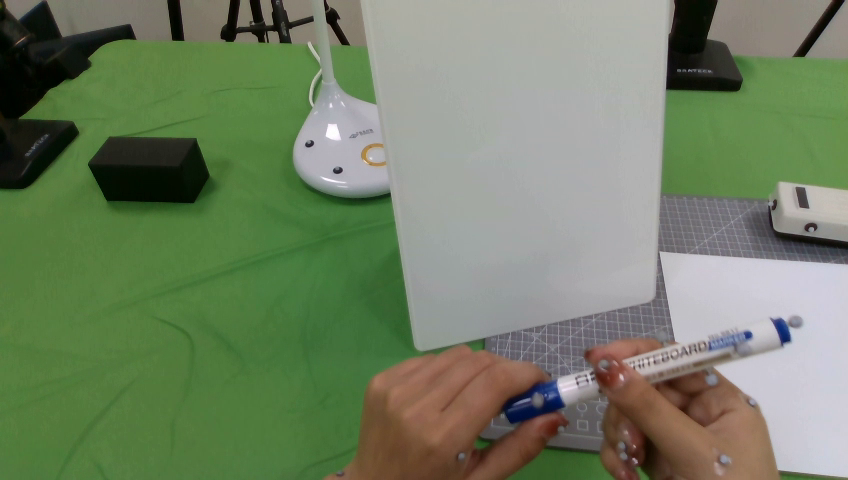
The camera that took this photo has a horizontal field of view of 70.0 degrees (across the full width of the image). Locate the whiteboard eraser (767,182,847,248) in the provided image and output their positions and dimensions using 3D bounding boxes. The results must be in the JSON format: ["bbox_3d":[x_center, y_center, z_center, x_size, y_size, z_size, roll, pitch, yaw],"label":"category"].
[{"bbox_3d":[0.387,-0.020,0.571,0.112,0.042,0.055,9,44,12],"label":"whiteboard eraser"}]

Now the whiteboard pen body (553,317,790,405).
[{"bbox_3d":[0.113,0.066,0.313,0.140,0.017,0.017,-20,42,15],"label":"whiteboard pen body"}]

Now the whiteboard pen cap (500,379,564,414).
[{"bbox_3d":[0.059,0.084,0.329,0.033,0.018,0.018,-10,42,15],"label":"whiteboard pen cap"}]

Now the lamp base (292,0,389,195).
[{"bbox_3d":[-0.082,-0.166,0.650,0.160,0.182,0.177,-31,48,-26],"label":"lamp base"}]

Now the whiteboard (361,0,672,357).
[{"bbox_3d":[0.068,-0.087,0.512,0.217,0.307,0.142,-11,25,-7],"label":"whiteboard"}]
